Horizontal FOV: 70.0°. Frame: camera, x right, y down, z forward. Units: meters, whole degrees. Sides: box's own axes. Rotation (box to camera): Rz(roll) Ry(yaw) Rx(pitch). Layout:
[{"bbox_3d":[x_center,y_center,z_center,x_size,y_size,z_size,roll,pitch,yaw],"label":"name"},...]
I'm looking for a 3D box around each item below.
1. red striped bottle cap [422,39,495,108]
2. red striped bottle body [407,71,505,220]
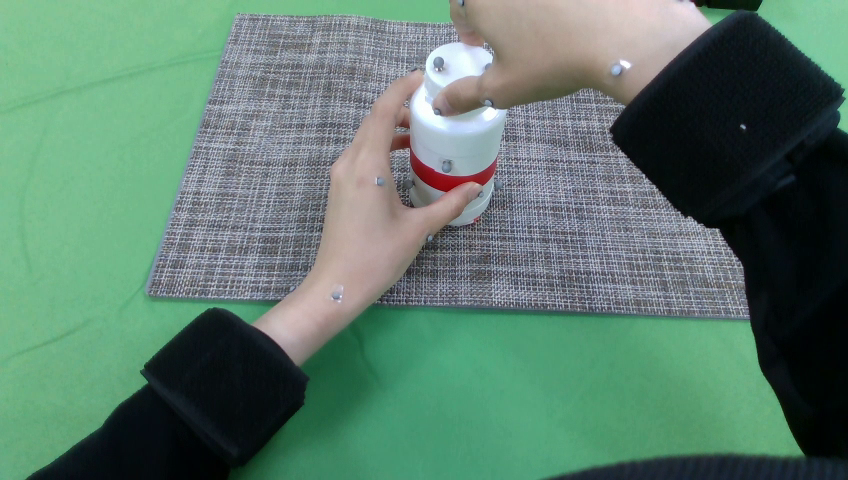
[{"bbox_3d":[0.021,-0.101,0.365,0.044,0.018,0.044,2,60,-3],"label":"red striped bottle cap"},{"bbox_3d":[0.020,-0.071,0.409,0.063,0.120,0.062,1,57,-1],"label":"red striped bottle body"}]
